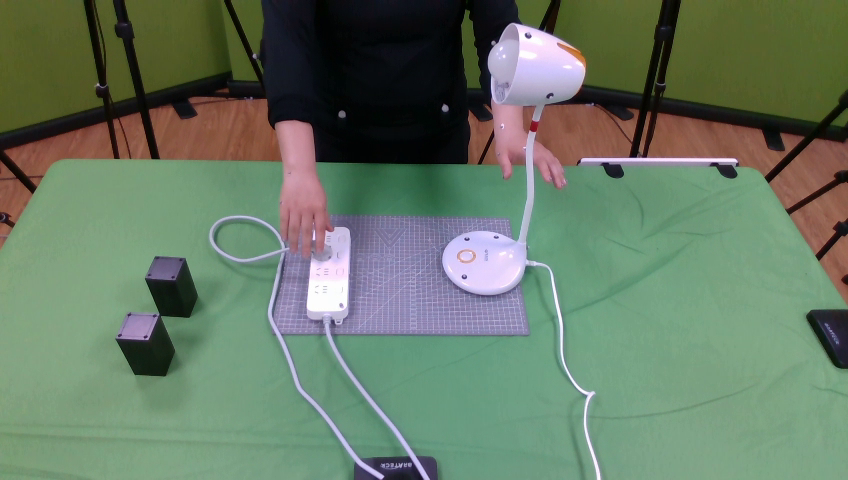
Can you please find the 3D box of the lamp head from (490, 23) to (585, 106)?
[{"bbox_3d":[0.165,-0.241,0.872,0.123,0.113,0.111,9,43,-17],"label":"lamp head"}]

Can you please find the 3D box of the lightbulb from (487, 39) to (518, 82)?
[{"bbox_3d":[0.143,-0.251,0.865,0.108,0.060,0.059,9,45,-7],"label":"lightbulb"}]

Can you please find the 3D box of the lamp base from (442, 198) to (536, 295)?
[{"bbox_3d":[0.130,-0.012,1.105,0.179,0.181,0.159,-1,46,-9],"label":"lamp base"}]

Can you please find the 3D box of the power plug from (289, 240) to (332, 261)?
[{"bbox_3d":[-0.207,0.022,1.123,0.072,0.053,0.035,5,44,6],"label":"power plug"}]

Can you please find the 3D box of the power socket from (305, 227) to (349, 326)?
[{"bbox_3d":[-0.177,0.059,1.116,0.072,0.033,0.225,-1,46,-4],"label":"power socket"}]
